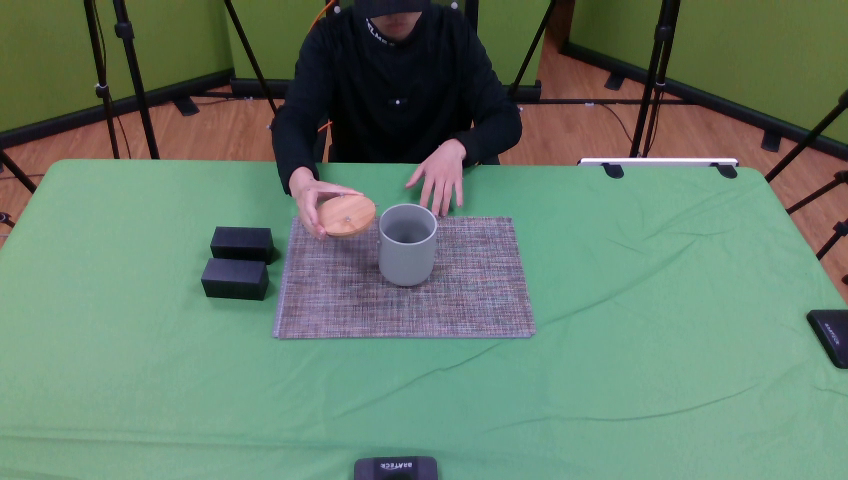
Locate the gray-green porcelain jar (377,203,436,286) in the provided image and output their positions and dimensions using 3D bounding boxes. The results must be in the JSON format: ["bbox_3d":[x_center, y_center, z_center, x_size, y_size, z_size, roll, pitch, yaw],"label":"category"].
[{"bbox_3d":[-0.033,0.014,1.106,0.106,0.127,0.105,2,46,-2],"label":"gray-green porcelain jar"}]

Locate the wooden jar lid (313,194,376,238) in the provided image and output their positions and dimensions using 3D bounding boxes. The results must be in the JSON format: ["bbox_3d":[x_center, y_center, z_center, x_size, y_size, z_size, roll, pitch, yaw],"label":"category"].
[{"bbox_3d":[-0.137,-0.040,1.047,0.108,0.021,0.107,-4,39,4],"label":"wooden jar lid"}]
